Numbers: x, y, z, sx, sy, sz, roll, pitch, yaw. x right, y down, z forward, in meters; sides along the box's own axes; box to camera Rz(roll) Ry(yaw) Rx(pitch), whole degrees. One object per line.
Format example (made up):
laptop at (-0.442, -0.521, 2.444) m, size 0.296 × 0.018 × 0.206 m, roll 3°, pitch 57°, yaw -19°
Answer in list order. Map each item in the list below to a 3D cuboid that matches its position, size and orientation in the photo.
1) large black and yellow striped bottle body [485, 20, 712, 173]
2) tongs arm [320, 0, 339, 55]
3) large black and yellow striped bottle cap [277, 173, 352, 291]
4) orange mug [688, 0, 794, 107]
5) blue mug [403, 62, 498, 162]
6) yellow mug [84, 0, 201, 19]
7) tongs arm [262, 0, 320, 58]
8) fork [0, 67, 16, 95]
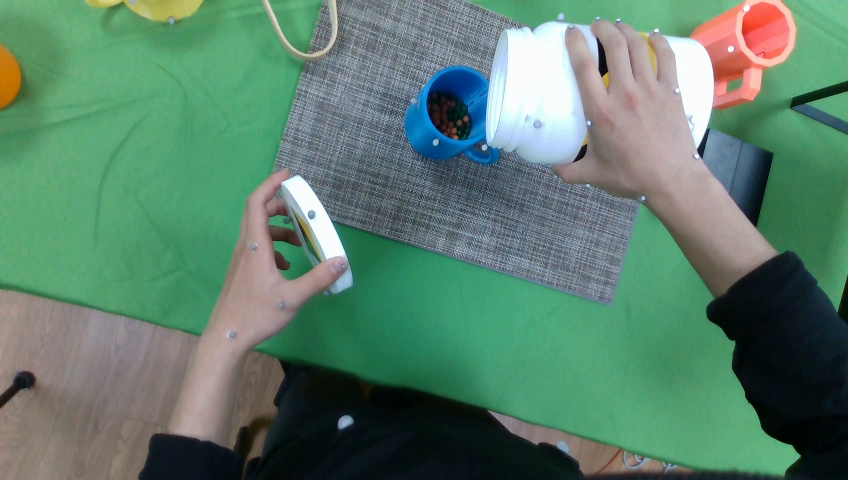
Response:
large black and yellow striped bottle body at (0.157, -0.136, 0.578) m, size 0.184 × 0.130 × 0.130 m, roll 5°, pitch 89°, yaw -4°
tongs arm at (-0.125, -0.403, 0.661) m, size 0.028 × 0.027 × 0.388 m, roll -9°, pitch 99°, yaw -21°
large black and yellow striped bottle cap at (-0.103, -0.006, 0.562) m, size 0.019 × 0.114 × 0.115 m, roll -28°, pitch 96°, yaw -20°
orange mug at (0.397, -0.237, 0.770) m, size 0.084 × 0.100 × 0.126 m, roll 7°, pitch 84°, yaw -13°
blue mug at (0.037, -0.131, 0.680) m, size 0.117 × 0.105 × 0.082 m, roll 43°, pitch 81°, yaw -9°
yellow mug at (-0.294, -0.281, 0.625) m, size 0.131 × 0.064 × 0.100 m, roll -35°, pitch 98°, yaw -10°
tongs arm at (-0.203, -0.379, 0.640) m, size 0.051 × 0.026 × 0.386 m, roll -23°, pitch 103°, yaw -15°
fork at (-0.475, -0.195, 0.540) m, size 0.028 × 0.018 × 0.209 m, roll -62°, pitch 145°, yaw -7°
